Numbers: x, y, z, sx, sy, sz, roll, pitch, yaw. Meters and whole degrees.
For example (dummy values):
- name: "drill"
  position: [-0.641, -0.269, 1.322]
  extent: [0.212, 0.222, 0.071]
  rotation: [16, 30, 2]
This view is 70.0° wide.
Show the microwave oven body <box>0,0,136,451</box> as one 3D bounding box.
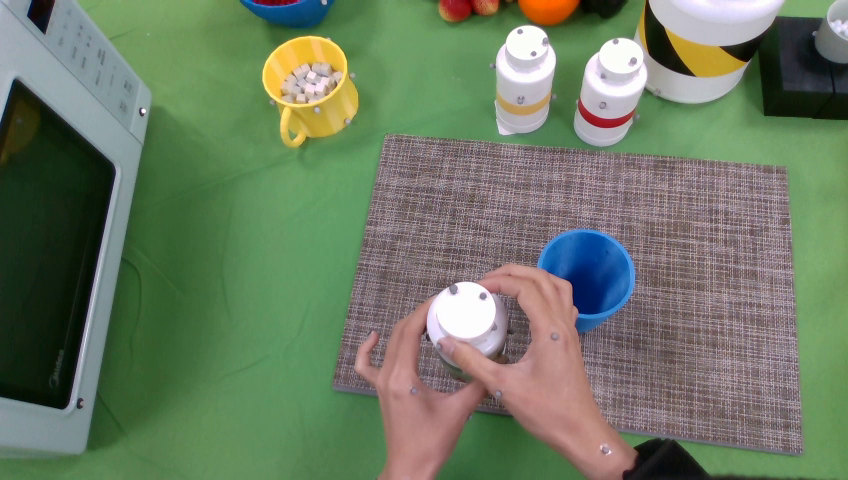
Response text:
- name: "microwave oven body"
  position: [-0.511, -0.028, 0.588]
  extent: [0.326, 0.262, 0.438]
  rotation: [-3, 69, 4]

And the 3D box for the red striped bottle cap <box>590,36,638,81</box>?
- name: "red striped bottle cap"
  position: [0.189, -0.181, 0.602]
  extent: [0.044, 0.018, 0.044]
  rotation: [0, 67, 1]

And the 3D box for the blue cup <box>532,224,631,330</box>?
- name: "blue cup"
  position: [0.142, 0.044, 0.579]
  extent: [0.092, 0.101, 0.092]
  rotation: [-1, 67, 4]

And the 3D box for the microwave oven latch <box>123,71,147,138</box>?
- name: "microwave oven latch"
  position: [-0.357, -0.162, 0.730]
  extent: [0.030, 0.030, 0.078]
  rotation: [-1, 69, 5]

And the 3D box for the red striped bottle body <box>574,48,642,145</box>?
- name: "red striped bottle body"
  position: [0.196, -0.160, 0.650]
  extent: [0.063, 0.121, 0.062]
  rotation: [-4, 65, 9]

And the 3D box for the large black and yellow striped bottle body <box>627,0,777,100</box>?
- name: "large black and yellow striped bottle body"
  position: [0.296, -0.252, 0.642]
  extent: [0.130, 0.185, 0.130]
  rotation: [-2, 68, 5]

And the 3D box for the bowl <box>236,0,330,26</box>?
- name: "bowl"
  position: [-0.173, -0.331, 0.778]
  extent: [0.151, 0.077, 0.150]
  rotation: [-2, 68, 4]

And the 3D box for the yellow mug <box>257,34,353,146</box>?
- name: "yellow mug"
  position: [-0.144, -0.171, 0.718]
  extent: [0.099, 0.064, 0.130]
  rotation: [16, 71, 11]

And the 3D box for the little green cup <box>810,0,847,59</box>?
- name: "little green cup"
  position: [0.444, -0.224, 0.640]
  extent: [0.061, 0.039, 0.061]
  rotation: [-1, 67, 4]

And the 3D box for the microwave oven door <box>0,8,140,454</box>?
- name: "microwave oven door"
  position: [-0.366, 0.002, 0.556]
  extent: [0.039, 0.245, 0.353]
  rotation: [-3, 68, 5]

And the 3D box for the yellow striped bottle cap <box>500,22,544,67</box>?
- name: "yellow striped bottle cap"
  position: [0.100, -0.200, 0.619]
  extent: [0.044, 0.019, 0.044]
  rotation: [-2, 69, 5]

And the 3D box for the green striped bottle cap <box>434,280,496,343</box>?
- name: "green striped bottle cap"
  position: [0.030, 0.052, 0.438]
  extent: [0.044, 0.020, 0.044]
  rotation: [-2, 64, 5]

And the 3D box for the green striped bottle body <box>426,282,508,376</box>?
- name: "green striped bottle body"
  position: [0.035, 0.072, 0.493]
  extent: [0.063, 0.120, 0.063]
  rotation: [-1, 70, 4]

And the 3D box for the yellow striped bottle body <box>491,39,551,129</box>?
- name: "yellow striped bottle body"
  position: [0.106, -0.180, 0.667]
  extent: [0.063, 0.121, 0.062]
  rotation: [-2, 68, 6]
